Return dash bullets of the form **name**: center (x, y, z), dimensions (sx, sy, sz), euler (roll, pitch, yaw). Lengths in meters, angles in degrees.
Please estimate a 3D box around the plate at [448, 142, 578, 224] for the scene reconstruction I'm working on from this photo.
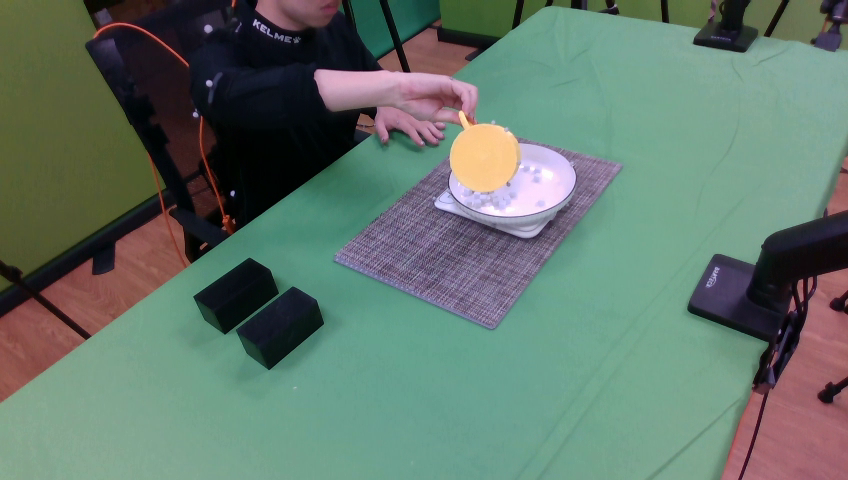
- **plate**: center (0.145, -0.089, 0.989), dimensions (0.209, 0.038, 0.208), euler (-4, 41, 4)

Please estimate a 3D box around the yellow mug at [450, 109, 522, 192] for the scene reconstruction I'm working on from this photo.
- **yellow mug**: center (0.087, -0.139, 0.908), dimensions (0.100, 0.131, 0.064), euler (-28, 3, 16)

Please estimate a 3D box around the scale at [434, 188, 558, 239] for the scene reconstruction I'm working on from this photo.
- **scale**: center (0.132, -0.075, 1.025), dimensions (0.199, 0.032, 0.149), euler (22, 48, 30)
